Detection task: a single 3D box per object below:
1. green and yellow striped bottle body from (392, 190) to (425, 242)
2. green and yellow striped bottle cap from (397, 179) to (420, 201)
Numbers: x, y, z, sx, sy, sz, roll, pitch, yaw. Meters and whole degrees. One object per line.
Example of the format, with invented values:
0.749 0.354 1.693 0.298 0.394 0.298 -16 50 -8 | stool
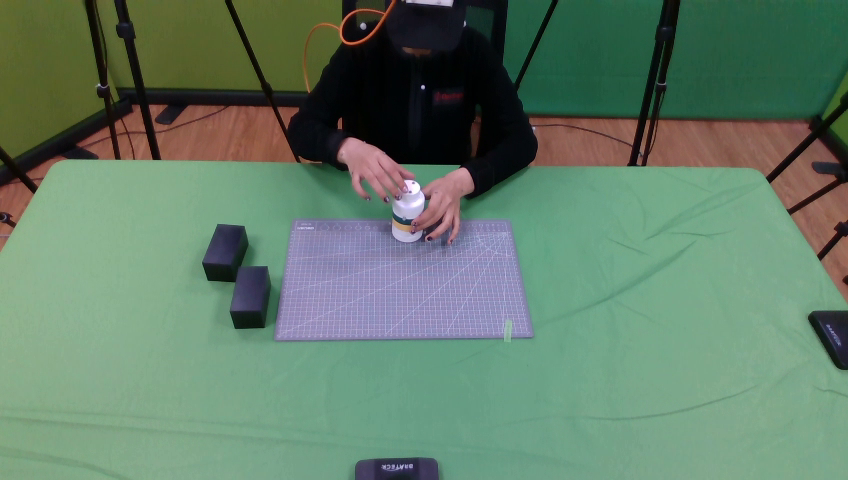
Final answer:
-0.030 -0.058 1.178 0.063 0.120 0.063 2 46 -2 | green and yellow striped bottle body
-0.029 -0.094 1.141 0.045 0.020 0.045 3 46 -3 | green and yellow striped bottle cap
